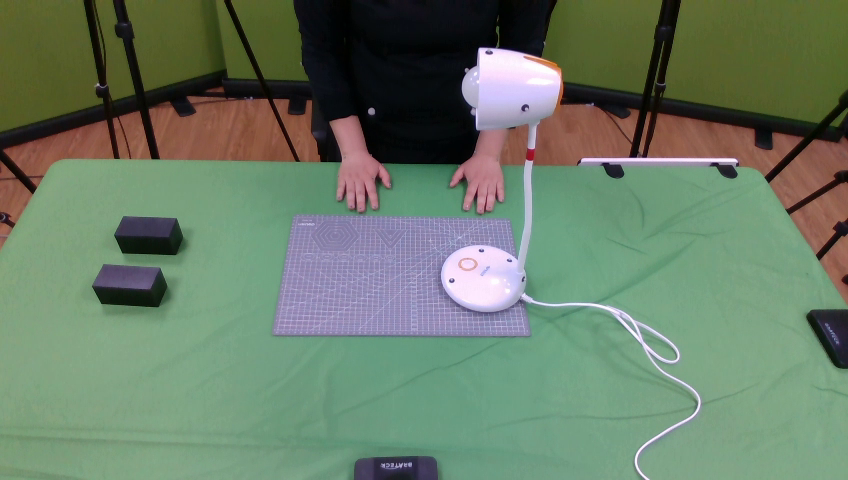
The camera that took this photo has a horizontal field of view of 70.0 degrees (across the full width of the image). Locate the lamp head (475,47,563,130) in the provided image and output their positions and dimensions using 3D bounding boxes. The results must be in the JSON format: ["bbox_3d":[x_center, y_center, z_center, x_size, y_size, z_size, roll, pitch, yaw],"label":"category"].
[{"bbox_3d":[0.129,-0.206,0.840,0.123,0.113,0.112,5,45,-1],"label":"lamp head"}]

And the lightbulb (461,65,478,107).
[{"bbox_3d":[0.106,-0.214,0.850,0.108,0.060,0.059,4,45,-2],"label":"lightbulb"}]

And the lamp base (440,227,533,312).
[{"bbox_3d":[0.126,0.021,1.073,0.179,0.181,0.160,22,49,13],"label":"lamp base"}]
